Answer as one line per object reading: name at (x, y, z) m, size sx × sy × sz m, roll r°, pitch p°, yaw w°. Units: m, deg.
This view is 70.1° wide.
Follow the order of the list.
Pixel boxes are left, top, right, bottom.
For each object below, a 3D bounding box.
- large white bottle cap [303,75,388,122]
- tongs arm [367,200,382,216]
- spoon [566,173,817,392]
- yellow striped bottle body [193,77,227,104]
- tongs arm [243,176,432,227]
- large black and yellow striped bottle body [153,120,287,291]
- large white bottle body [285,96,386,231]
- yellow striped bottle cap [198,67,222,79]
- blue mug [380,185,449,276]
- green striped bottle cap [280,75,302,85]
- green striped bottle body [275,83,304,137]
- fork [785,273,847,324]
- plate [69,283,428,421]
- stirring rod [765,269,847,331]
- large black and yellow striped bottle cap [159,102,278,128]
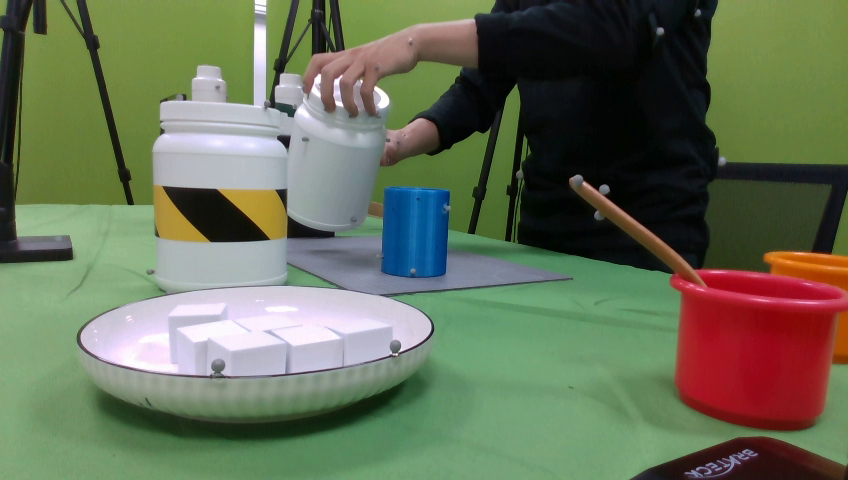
large white bottle cap at (-0.105, -0.194, 0.821) m, size 0.115 × 0.018 × 0.114 m, roll 12°, pitch 33°, yaw -8°
tongs arm at (-0.122, -0.066, 1.147) m, size 0.387 × 0.026 × 0.050 m, roll 11°, pitch -2°, yaw -37°
spoon at (0.161, 0.024, 0.370) m, size 0.193 × 0.021 × 0.042 m, roll 47°, pitch 18°, yaw 3°
yellow striped bottle body at (-0.414, -0.268, 1.169) m, size 0.063 × 0.120 × 0.063 m, roll 2°, pitch 7°, yaw 0°
tongs arm at (-0.165, -0.075, 1.216) m, size 0.389 × 0.027 × 0.028 m, roll 11°, pitch -6°, yaw -24°
large black and yellow striped bottle body at (-0.208, -0.042, 0.626) m, size 0.131 × 0.184 × 0.130 m, roll 2°, pitch 7°, yaw 0°
large white bottle body at (-0.128, -0.121, 0.864) m, size 0.131 × 0.184 × 0.130 m, roll 14°, pitch 29°, yaw -8°
yellow striped bottle cap at (-0.412, -0.320, 1.163) m, size 0.044 × 0.018 × 0.044 m, roll 0°, pitch 5°, yaw 0°
blue mug at (-0.019, -0.016, 0.764) m, size 0.083 × 0.106 × 0.116 m, roll -1°, pitch 8°, yaw -25°
green striped bottle cap at (-0.267, -0.320, 1.216) m, size 0.044 × 0.020 × 0.044 m, roll 3°, pitch 8°, yaw 0°
green striped bottle body at (-0.269, -0.269, 1.221) m, size 0.063 × 0.119 × 0.063 m, roll 2°, pitch 7°, yaw 0°
fork at (0.332, 0.018, 0.444) m, size 0.028 × 0.018 × 0.207 m, roll -2°, pitch -35°, yaw -15°
plate at (-0.102, 0.066, 0.381) m, size 0.208 × 0.039 × 0.207 m, roll 2°, pitch 7°, yaw 0°
stirring rod at (0.352, 0.020, 0.484) m, size 0.176 × 0.006 × 0.014 m, roll -40°, pitch -7°, yaw 13°
large black and yellow striped bottle cap at (-0.207, -0.125, 0.615) m, size 0.115 × 0.019 × 0.115 m, roll 2°, pitch 6°, yaw 0°
